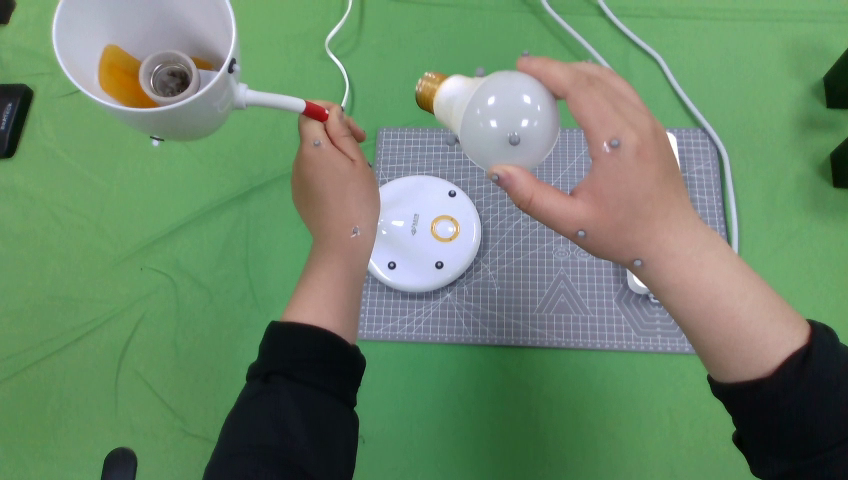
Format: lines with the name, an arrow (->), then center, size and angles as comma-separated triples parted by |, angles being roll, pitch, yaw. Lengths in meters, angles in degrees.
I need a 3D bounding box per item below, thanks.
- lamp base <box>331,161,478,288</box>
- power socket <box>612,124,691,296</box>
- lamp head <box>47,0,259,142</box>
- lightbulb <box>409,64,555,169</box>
lamp base -> -0.031, -0.042, 0.699 | 0.179, 0.181, 0.159 | -5, 69, 6
power socket -> 0.280, -0.044, 0.752 | 0.072, 0.033, 0.225 | 0, 69, 4
lamp head -> -0.181, -0.121, 0.436 | 0.112, 0.123, 0.112 | 1, 78, -2
lightbulb -> 0.030, -0.082, 0.367 | 0.106, 0.060, 0.059 | 33, 75, 36
